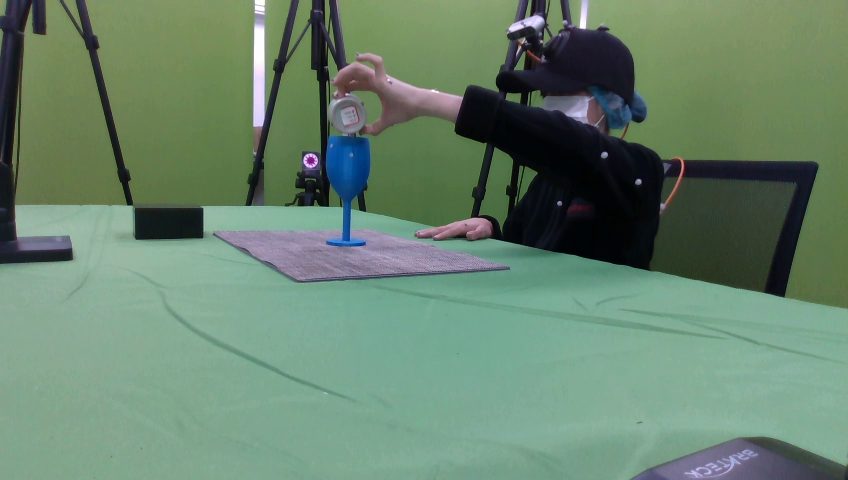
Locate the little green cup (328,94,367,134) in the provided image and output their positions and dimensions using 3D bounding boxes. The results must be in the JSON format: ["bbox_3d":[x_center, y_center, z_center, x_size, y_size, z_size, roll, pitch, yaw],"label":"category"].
[{"bbox_3d":[-0.115,-0.189,0.916,0.062,0.061,0.038,2,16,-12],"label":"little green cup"}]

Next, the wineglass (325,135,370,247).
[{"bbox_3d":[-0.124,-0.078,0.964,0.074,0.172,0.073,3,7,0],"label":"wineglass"}]
